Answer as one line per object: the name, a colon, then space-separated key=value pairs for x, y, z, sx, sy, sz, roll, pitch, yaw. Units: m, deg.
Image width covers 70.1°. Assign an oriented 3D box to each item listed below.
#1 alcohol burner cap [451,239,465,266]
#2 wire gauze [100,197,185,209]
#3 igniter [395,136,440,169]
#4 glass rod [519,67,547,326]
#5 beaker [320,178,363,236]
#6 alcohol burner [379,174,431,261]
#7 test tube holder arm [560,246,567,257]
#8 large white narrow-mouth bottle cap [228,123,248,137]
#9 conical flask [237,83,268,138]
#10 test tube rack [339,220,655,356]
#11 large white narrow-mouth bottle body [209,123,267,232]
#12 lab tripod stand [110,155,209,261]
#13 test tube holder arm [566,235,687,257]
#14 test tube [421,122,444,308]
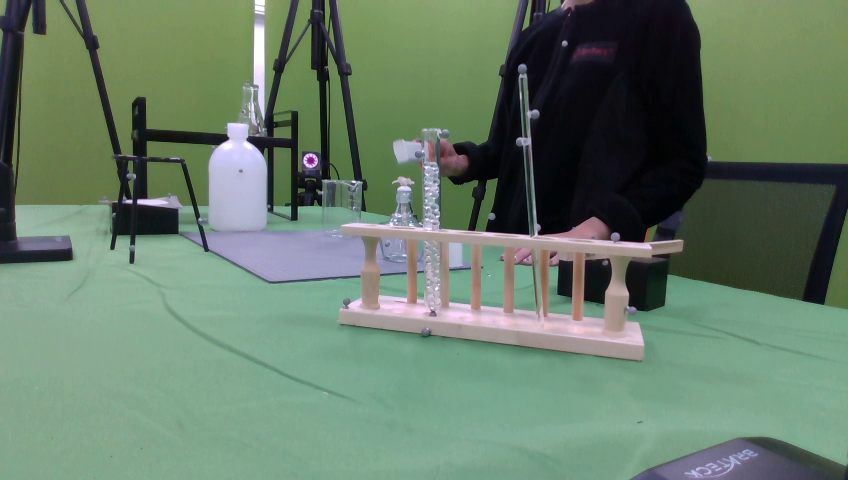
alcohol burner cap: x=0.040 y=0.010 z=0.815 sx=0.034 sy=0.048 sz=0.034 roll=4 pitch=8 yaw=0
wire gauze: x=-0.469 y=-0.062 z=1.008 sx=0.126 sy=0.011 sz=0.121 roll=-2 pitch=8 yaw=-25
igniter: x=-0.005 y=-0.143 z=0.978 sx=0.025 sy=0.057 sz=0.277 roll=-13 pitch=5 yaw=12
glass rod: x=0.083 y=-0.028 z=0.458 sx=0.008 sy=0.199 sz=0.008 roll=-6 pitch=11 yaw=1
beaker: x=-0.145 y=-0.059 z=1.078 sx=0.074 sy=0.100 sz=0.083 roll=-4 pitch=10 yaw=-36
alcohol burner: x=-0.027 y=-0.031 z=0.838 sx=0.078 sy=0.119 sz=0.078 roll=0 pitch=6 yaw=0
test tube holder arm: x=0.173 y=0.007 z=0.611 sx=0.088 sy=0.015 sz=0.010 roll=-3 pitch=9 yaw=-30
large white narrow-mouth bottle cap: x=-0.338 y=-0.199 z=1.097 sx=0.038 sy=0.024 sz=0.037 roll=2 pitch=8 yaw=0
conical flask: x=-0.402 y=-0.299 z=1.406 sx=0.075 sy=0.122 sz=0.075 roll=2 pitch=7 yaw=0
test tube rack: x=0.056 y=0.032 z=0.495 sx=0.242 sy=0.085 sz=0.067 roll=4 pitch=7 yaw=15
large white narrow-mouth bottle body: x=-0.340 y=-0.115 z=1.109 sx=0.102 sy=0.194 sz=0.102 roll=2 pitch=8 yaw=0
lab tripod stand: x=-0.361 y=-0.046 z=0.806 sx=0.148 sy=0.131 sz=0.148 roll=2 pitch=5 yaw=0
test tube holder arm: x=0.215 y=0.006 z=0.630 sx=0.179 sy=0.015 sz=0.013 roll=-3 pitch=9 yaw=-31
test tube: x=0.007 y=-0.019 z=0.486 sx=0.017 sy=0.150 sz=0.017 roll=-1 pitch=7 yaw=0
